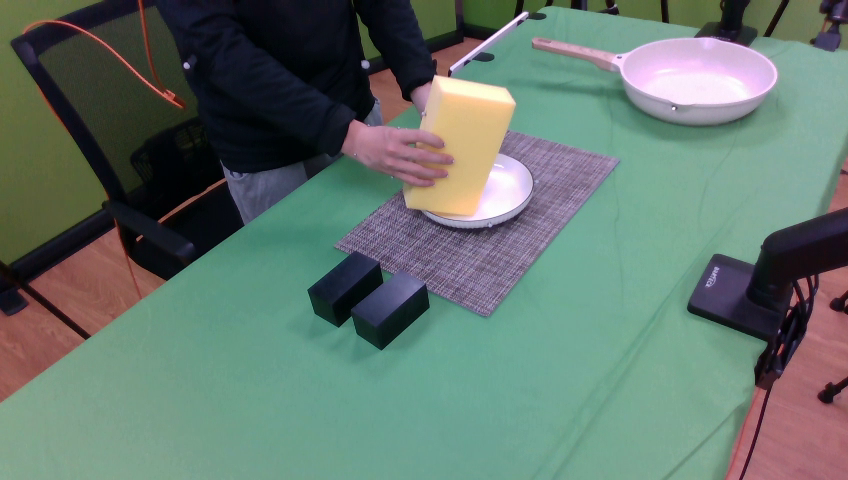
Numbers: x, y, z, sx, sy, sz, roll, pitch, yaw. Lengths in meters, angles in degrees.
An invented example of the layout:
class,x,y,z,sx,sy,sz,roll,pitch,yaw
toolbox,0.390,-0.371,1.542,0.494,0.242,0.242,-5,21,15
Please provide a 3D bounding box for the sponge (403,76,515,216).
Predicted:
class,x,y,z,sx,sy,sz,roll,pitch,yaw
sponge,0.049,-0.142,0.950,0.119,0.207,0.060,6,36,-17

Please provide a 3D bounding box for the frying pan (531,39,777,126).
class,x,y,z,sx,sy,sz,roll,pitch,yaw
frying pan,0.452,-0.354,1.254,0.485,0.103,0.307,22,47,19

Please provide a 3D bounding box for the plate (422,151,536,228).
class,x,y,z,sx,sy,sz,roll,pitch,yaw
plate,0.086,-0.085,1.038,0.207,0.039,0.206,-4,41,4
